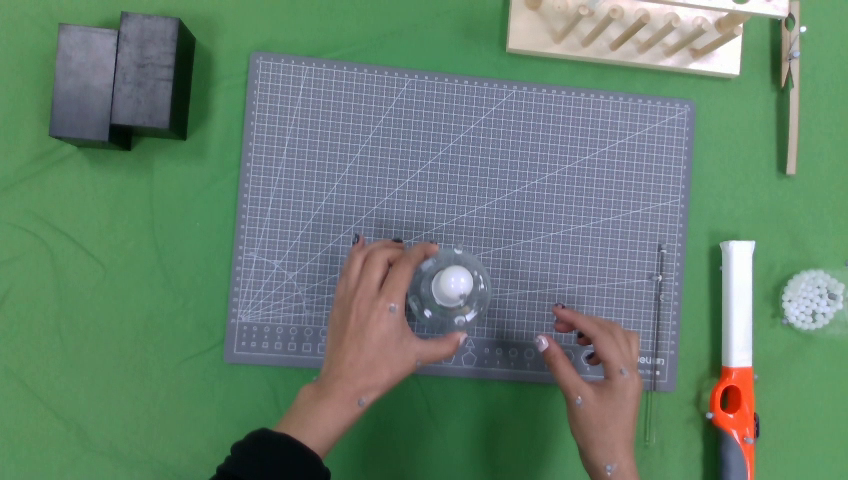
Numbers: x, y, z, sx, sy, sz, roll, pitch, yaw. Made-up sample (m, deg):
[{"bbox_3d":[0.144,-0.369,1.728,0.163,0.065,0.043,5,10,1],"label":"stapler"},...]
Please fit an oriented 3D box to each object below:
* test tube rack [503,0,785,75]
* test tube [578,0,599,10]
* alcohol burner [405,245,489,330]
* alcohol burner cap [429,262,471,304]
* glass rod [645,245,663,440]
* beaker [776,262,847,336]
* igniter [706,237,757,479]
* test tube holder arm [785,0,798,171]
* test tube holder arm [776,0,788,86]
[{"bbox_3d":[0.205,-0.217,0.583,0.243,0.085,0.066,5,88,-5],"label":"test tube rack"},{"bbox_3d":[0.173,-0.239,0.531,0.017,0.150,0.017,1,86,-11],"label":"test tube"},{"bbox_3d":[0.021,0.040,0.537,0.078,0.119,0.077,0,80,-1],"label":"alcohol burner"},{"bbox_3d":[0.024,0.034,0.502,0.034,0.048,0.033,2,79,-8],"label":"alcohol burner cap"},{"bbox_3d":[0.234,0.104,0.617,0.008,0.008,0.199,4,89,-6],"label":"glass rod"},{"bbox_3d":[0.406,0.054,0.592,0.074,0.100,0.084,18,87,-4],"label":"beaker"},{"bbox_3d":[0.314,0.134,0.618,0.057,0.025,0.276,1,89,-15],"label":"igniter"},{"bbox_3d":[0.383,-0.162,0.632,0.013,0.015,0.178,-3,90,31],"label":"test tube holder arm"},{"bbox_3d":[0.376,-0.207,0.634,0.010,0.015,0.088,-2,90,31],"label":"test tube holder arm"}]
